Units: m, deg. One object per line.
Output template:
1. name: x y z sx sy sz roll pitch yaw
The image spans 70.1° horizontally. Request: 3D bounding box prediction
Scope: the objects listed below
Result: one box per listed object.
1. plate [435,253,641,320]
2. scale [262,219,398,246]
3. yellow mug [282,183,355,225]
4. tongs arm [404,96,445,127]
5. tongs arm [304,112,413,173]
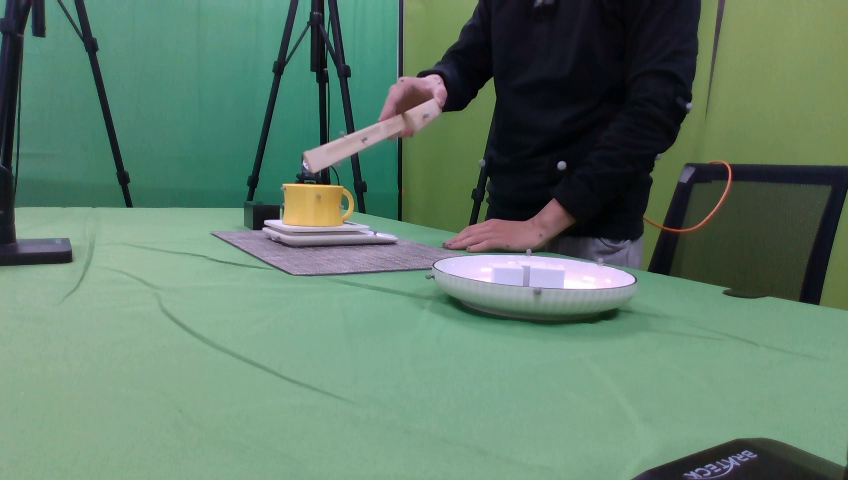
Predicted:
1. plate: 0.114 0.047 0.626 0.208 0.039 0.207 2 7 0
2. scale: -0.160 -0.016 1.028 0.202 0.031 0.148 -2 9 -32
3. yellow mug: -0.172 -0.061 1.009 0.131 0.064 0.099 -2 7 -42
4. tongs arm: 0.004 -0.177 0.821 0.028 0.028 0.387 -28 10 12
5. tongs arm: -0.059 -0.153 0.842 0.050 0.026 0.385 -23 11 22
